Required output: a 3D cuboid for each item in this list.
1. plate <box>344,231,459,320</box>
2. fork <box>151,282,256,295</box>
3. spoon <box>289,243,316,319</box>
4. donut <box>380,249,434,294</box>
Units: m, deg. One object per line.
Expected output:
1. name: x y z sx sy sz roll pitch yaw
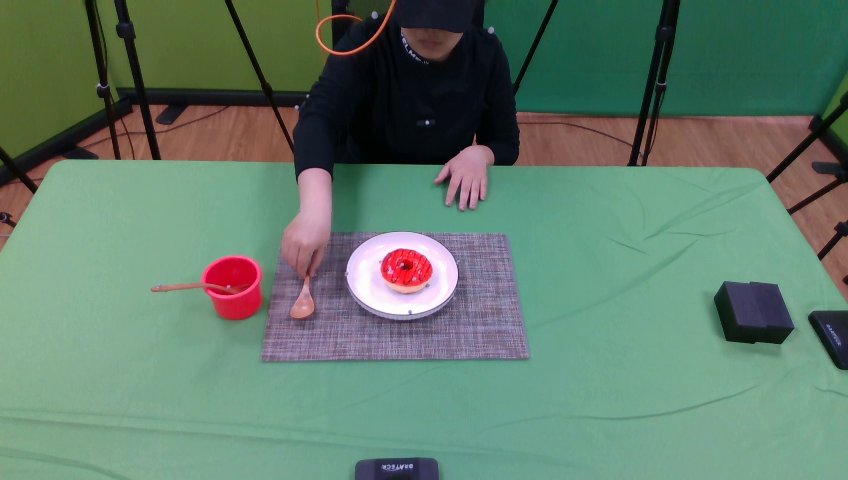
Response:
1. plate: -0.042 0.068 1.115 0.209 0.038 0.208 2 46 -2
2. fork: -0.361 0.080 1.007 0.028 0.018 0.208 36 11 27
3. spoon: -0.214 0.071 1.108 0.041 0.022 0.192 -5 46 5
4. donut: -0.032 0.056 1.111 0.099 0.048 0.098 3 43 -3
